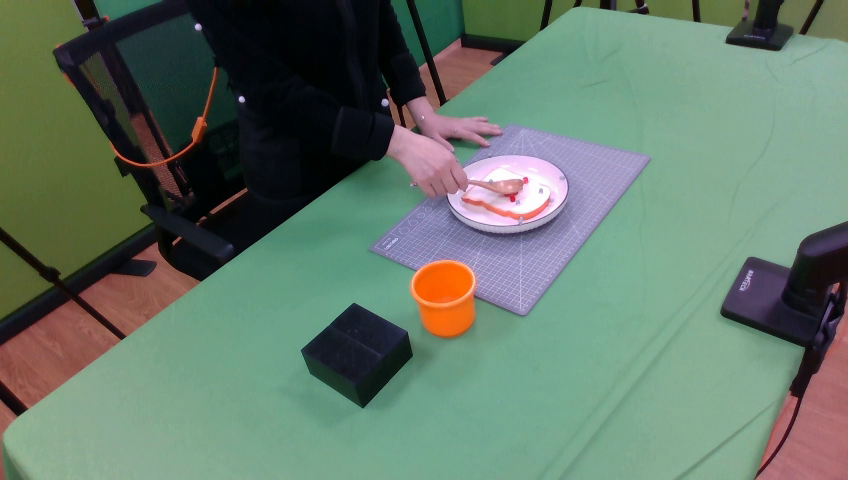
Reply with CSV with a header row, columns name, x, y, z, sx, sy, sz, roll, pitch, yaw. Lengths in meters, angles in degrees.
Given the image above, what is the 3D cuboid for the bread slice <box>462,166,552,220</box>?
name,x,y,z,sx,sy,sz,roll,pitch,yaw
bread slice,0.150,-0.079,1.036,0.133,0.018,0.107,22,50,31

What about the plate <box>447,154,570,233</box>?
name,x,y,z,sx,sy,sz,roll,pitch,yaw
plate,0.143,-0.076,1.032,0.209,0.038,0.208,-5,40,5

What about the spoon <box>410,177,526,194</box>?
name,x,y,z,sx,sy,sz,roll,pitch,yaw
spoon,0.073,-0.094,0.999,0.194,0.021,0.041,4,39,-10
